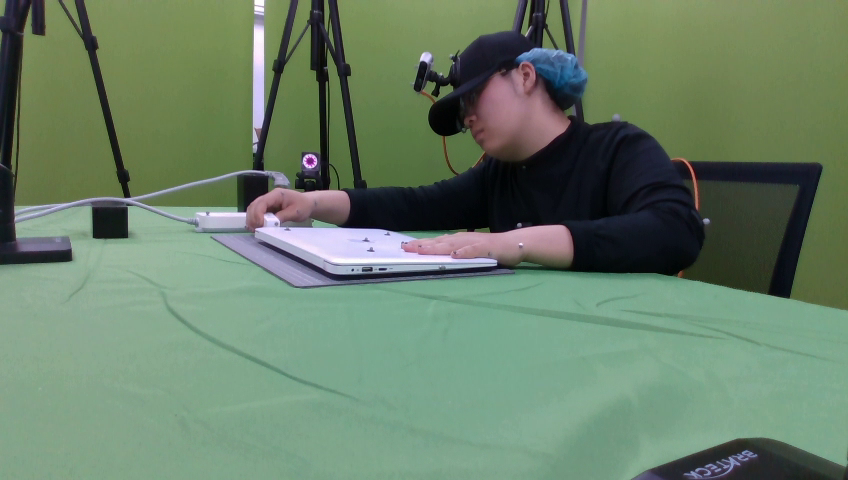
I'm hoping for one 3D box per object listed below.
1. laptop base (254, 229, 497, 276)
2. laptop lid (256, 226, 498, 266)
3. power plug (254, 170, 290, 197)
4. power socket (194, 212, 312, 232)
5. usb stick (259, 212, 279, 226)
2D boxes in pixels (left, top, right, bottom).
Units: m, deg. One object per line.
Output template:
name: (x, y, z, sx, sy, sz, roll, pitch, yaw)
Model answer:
laptop base: (-0.088, 0.016, 0.877, 0.237, 0.023, 0.352, 2, 6, -31)
laptop lid: (-0.085, 0.006, 0.877, 0.243, 0.013, 0.355, 2, 7, -29)
power plug: (-0.323, -0.119, 1.285, 0.073, 0.052, 0.035, 2, -13, -13)
power socket: (-0.322, -0.037, 1.153, 0.228, 0.032, 0.072, -2, 8, -34)
usb stick: (-0.256, -0.026, 1.003, 0.021, 0.027, 0.059, 0, 24, -29)
